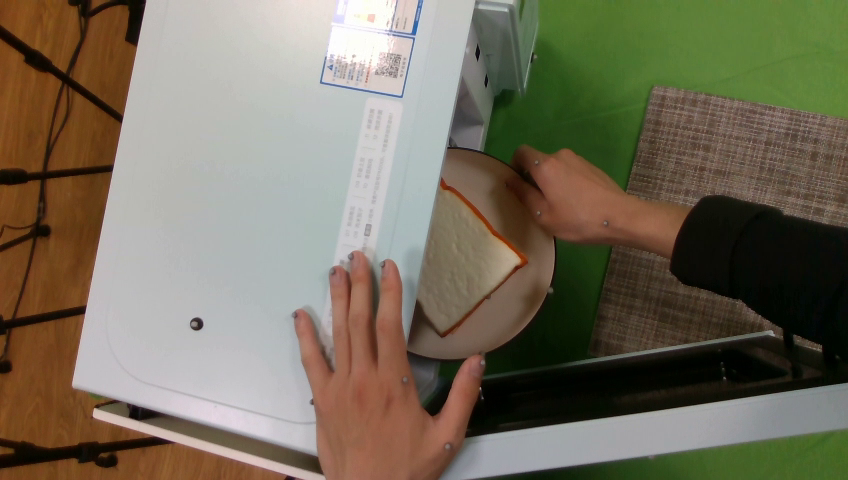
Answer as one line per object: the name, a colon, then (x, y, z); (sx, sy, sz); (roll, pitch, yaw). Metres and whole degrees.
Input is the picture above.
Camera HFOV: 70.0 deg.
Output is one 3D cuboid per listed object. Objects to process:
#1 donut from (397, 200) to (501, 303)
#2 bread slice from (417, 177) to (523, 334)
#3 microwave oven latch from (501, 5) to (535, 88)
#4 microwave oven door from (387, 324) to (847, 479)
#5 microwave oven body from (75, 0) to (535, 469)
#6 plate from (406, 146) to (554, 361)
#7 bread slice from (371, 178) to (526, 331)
donut: (0.023, 0.011, 0.570); (0.099, 0.048, 0.099); (-1, 87, 9)
bread slice: (0.007, 0.005, 0.545); (0.105, 0.019, 0.131); (-44, 83, 12)
microwave oven latch: (0.101, -0.207, 0.652); (0.030, 0.029, 0.079); (12, 92, 11)
microwave oven door: (0.166, 0.135, 0.531); (0.355, 0.244, 0.039); (-12, 86, 10)
microwave oven body: (-0.096, -0.065, 0.589); (0.325, 0.261, 0.441); (11, 92, 11)
plate: (0.022, 0.013, 0.599); (0.207, 0.039, 0.207); (0, 90, 10)
bread slice: (0.013, 0.008, 0.591); (0.133, 0.018, 0.107); (44, 91, 12)
